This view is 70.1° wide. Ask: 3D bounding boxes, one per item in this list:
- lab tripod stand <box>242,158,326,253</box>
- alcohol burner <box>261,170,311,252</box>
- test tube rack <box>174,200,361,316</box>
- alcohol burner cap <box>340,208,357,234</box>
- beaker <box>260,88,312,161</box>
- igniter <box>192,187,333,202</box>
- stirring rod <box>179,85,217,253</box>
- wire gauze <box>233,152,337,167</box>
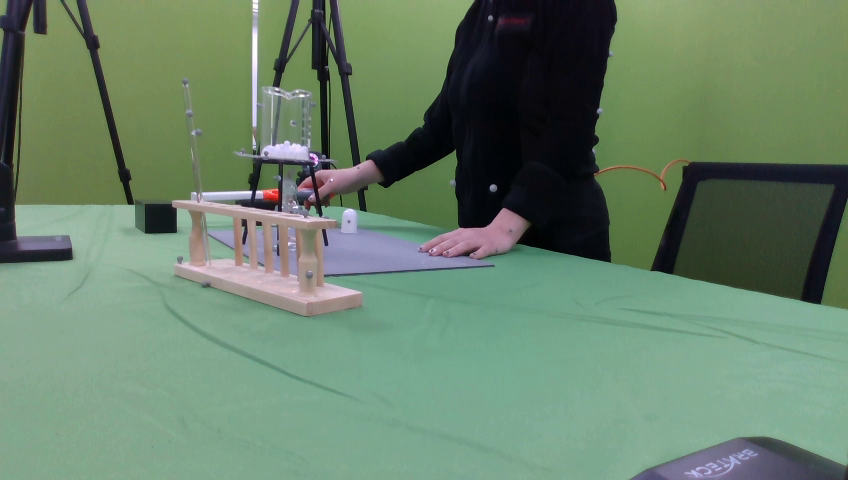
[{"bbox_3d":[-0.207,-0.054,0.895,0.148,0.131,0.148,2,5,0],"label":"lab tripod stand"},{"bbox_3d":[-0.201,-0.043,0.891,0.078,0.119,0.078,1,6,0],"label":"alcohol burner"},{"bbox_3d":[-0.169,0.009,0.622,0.241,0.085,0.067,9,9,41],"label":"test tube rack"},{"bbox_3d":[-0.142,-0.035,1.136,0.034,0.048,0.034,2,7,0],"label":"alcohol burner cap"},{"bbox_3d":[-0.201,-0.166,0.876,0.074,0.100,0.083,1,7,-18],"label":"beaker"},{"bbox_3d":[-0.316,-0.090,1.214,0.278,0.025,0.057,-5,12,-31],"label":"igniter"},{"bbox_3d":[-0.236,-0.073,0.634,0.006,0.176,0.014,0,10,42],"label":"stirring rod"},{"bbox_3d":[-0.205,-0.119,0.887,0.122,0.011,0.124,2,4,-32],"label":"wire gauze"}]
